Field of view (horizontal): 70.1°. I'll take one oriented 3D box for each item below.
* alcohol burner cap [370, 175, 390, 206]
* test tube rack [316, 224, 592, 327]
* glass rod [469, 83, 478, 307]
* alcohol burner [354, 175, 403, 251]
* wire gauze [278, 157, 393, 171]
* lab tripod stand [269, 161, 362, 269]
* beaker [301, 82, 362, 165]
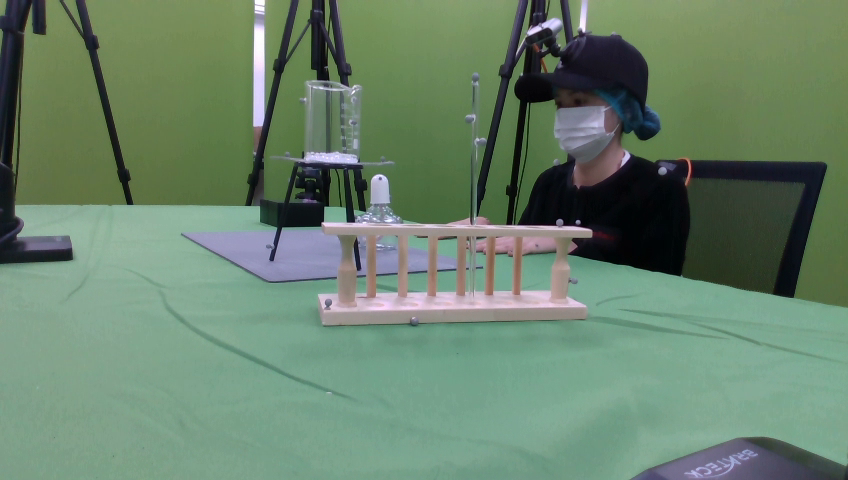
[{"bbox_3d":[-0.069,-0.077,0.939,0.034,0.048,0.034,-1,6,0],"label":"alcohol burner cap"},{"bbox_3d":[0.026,0.028,0.555,0.243,0.085,0.066,1,7,-14],"label":"test tube rack"},{"bbox_3d":[0.043,-0.033,0.523,0.008,0.199,0.008,-1,14,1],"label":"glass rod"},{"bbox_3d":[-0.072,-0.042,0.944,0.078,0.119,0.078,1,9,0],"label":"alcohol burner"},{"bbox_3d":[-0.122,-0.100,0.786,0.122,0.011,0.124,-5,14,-38],"label":"wire gauze"},{"bbox_3d":[-0.125,-0.036,0.794,0.148,0.131,0.148,5,7,0],"label":"lab tripod stand"},{"bbox_3d":[-0.117,-0.147,0.776,0.074,0.100,0.083,-3,10,-38],"label":"beaker"}]
